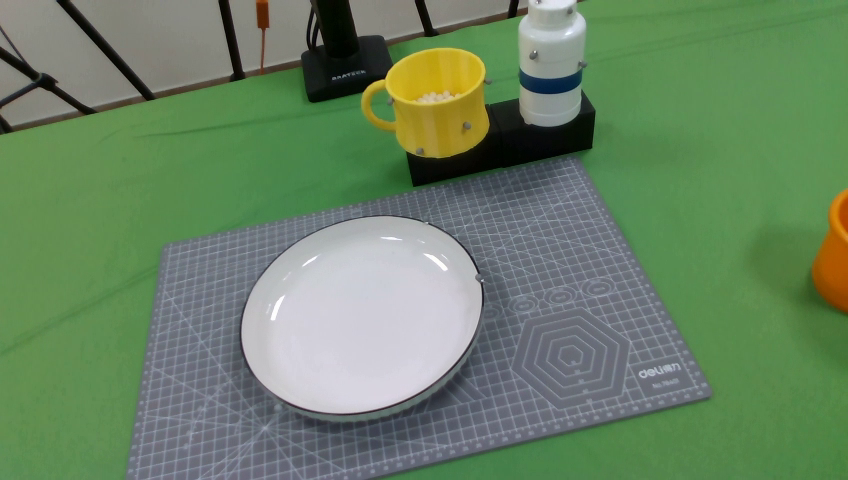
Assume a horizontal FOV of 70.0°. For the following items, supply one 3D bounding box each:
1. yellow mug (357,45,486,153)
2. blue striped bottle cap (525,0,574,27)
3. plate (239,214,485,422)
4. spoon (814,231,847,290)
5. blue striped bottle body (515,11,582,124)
[{"bbox_3d":[-0.004,-0.142,0.616,0.130,0.064,0.099,-3,47,8],"label":"yellow mug"},{"bbox_3d":[0.114,-0.214,0.553,0.044,0.021,0.044,-6,48,7],"label":"blue striped bottle cap"},{"bbox_3d":[-0.050,0.063,0.520,0.207,0.039,0.205,-5,47,5],"label":"plate"},{"bbox_3d":[0.380,-0.033,0.455,0.194,0.022,0.041,-47,41,21],"label":"spoon"},{"bbox_3d":[0.120,-0.179,0.590,0.063,0.122,0.062,-5,47,6],"label":"blue striped bottle body"}]
